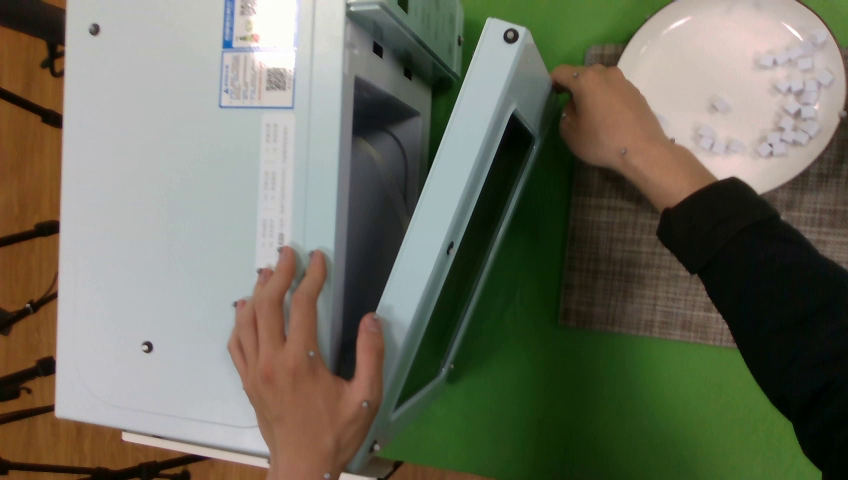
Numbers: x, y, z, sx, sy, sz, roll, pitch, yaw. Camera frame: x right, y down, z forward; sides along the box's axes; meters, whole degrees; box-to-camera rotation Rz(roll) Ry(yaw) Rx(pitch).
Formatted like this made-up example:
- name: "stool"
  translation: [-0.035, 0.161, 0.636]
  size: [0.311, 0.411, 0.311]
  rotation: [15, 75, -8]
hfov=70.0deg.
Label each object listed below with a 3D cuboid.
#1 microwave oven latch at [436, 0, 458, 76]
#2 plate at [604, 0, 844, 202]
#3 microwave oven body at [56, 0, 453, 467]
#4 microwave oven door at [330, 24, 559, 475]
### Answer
- name: "microwave oven latch"
  translation: [0.021, -0.220, 0.654]
  size: [0.030, 0.029, 0.079]
  rotation: [4, 94, 17]
- name: "plate"
  translation: [0.284, -0.140, 0.590]
  size: [0.208, 0.038, 0.209]
  rotation: [0, 92, 17]
- name: "microwave oven body"
  translation: [-0.157, -0.049, 0.614]
  size: [0.325, 0.261, 0.442]
  rotation: [3, 93, 17]
- name: "microwave oven door"
  translation: [0.031, 0.012, 0.554]
  size: [0.039, 0.244, 0.356]
  rotation: [23, 98, 16]
